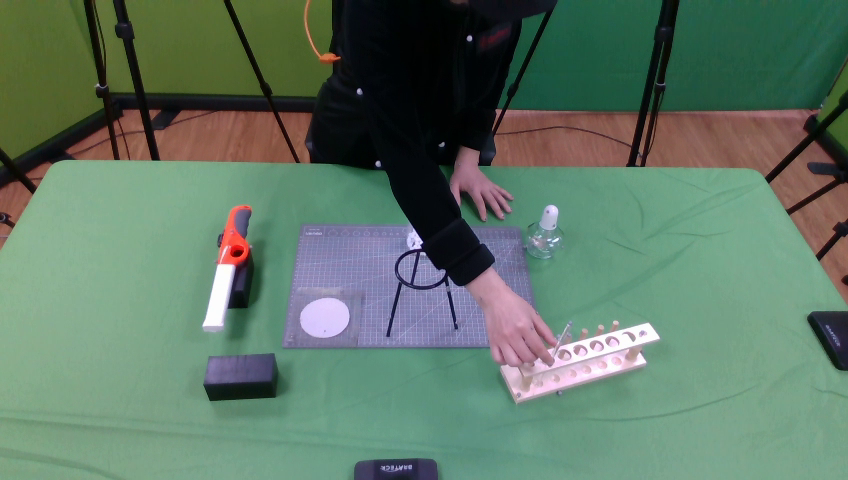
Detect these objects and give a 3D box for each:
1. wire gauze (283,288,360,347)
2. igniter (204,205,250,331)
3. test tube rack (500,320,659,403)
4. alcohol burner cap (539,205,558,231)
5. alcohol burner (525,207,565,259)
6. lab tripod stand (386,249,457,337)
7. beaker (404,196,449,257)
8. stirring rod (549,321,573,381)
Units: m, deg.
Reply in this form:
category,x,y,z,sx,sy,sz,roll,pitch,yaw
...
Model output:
category,x,y,z,sx,sy,sz,roll,pitch,yaw
wire gauze,-0.177,0.132,1.062,0.125,0.011,0.120,2,47,1
igniter,-0.344,0.039,1.064,0.057,0.025,0.274,2,48,-6
test tube rack,0.253,0.187,0.994,0.243,0.085,0.066,-12,48,-15
alcohol burner cap,0.239,-0.045,1.148,0.034,0.048,0.033,2,43,-1
alcohol burner,0.236,-0.020,1.174,0.078,0.120,0.077,1,48,-1
lab tripod stand,-0.010,0.087,1.032,0.148,0.132,0.147,1,45,-1
beaker,0.002,-0.023,1.164,0.084,0.101,0.073,6,46,0
stirring rod,0.202,0.168,0.901,0.006,0.177,0.014,-17,55,-11
